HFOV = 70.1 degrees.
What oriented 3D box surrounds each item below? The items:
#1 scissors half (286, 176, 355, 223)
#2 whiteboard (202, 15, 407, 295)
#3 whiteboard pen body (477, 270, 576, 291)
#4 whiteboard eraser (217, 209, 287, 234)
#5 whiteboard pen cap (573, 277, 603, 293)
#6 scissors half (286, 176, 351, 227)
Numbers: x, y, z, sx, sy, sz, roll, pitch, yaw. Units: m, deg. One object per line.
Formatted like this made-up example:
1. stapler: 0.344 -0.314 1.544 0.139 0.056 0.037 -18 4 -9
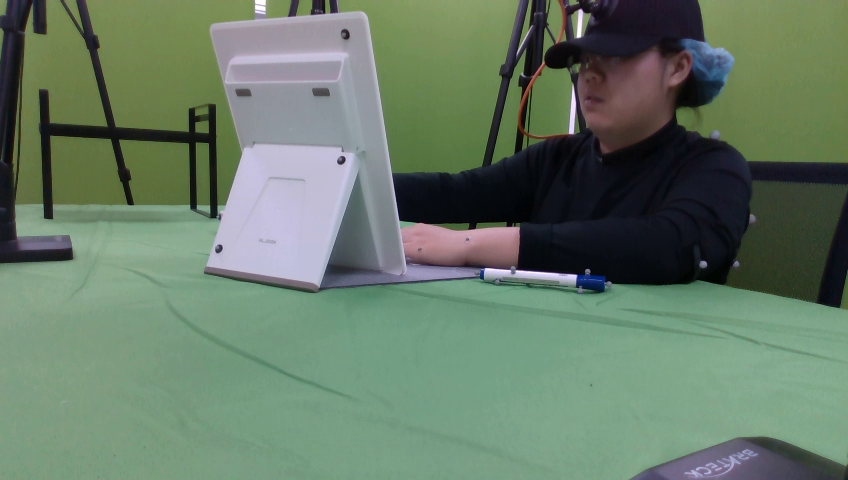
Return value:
1. scissors half: -0.229 -0.091 1.337 0.175 0.013 0.040 33 14 -13
2. whiteboard: -0.166 -0.073 0.668 0.216 0.305 0.144 7 30 28
3. whiteboard pen body: 0.131 0.048 0.706 0.140 0.017 0.017 4 8 18
4. whiteboard eraser: -0.309 -0.034 1.093 0.113 0.042 0.055 -3 14 -38
5. whiteboard pen cap: 0.186 0.051 0.687 0.033 0.018 0.018 4 8 17
6. scissors half: -0.232 -0.085 1.317 0.175 0.013 0.040 38 19 4
